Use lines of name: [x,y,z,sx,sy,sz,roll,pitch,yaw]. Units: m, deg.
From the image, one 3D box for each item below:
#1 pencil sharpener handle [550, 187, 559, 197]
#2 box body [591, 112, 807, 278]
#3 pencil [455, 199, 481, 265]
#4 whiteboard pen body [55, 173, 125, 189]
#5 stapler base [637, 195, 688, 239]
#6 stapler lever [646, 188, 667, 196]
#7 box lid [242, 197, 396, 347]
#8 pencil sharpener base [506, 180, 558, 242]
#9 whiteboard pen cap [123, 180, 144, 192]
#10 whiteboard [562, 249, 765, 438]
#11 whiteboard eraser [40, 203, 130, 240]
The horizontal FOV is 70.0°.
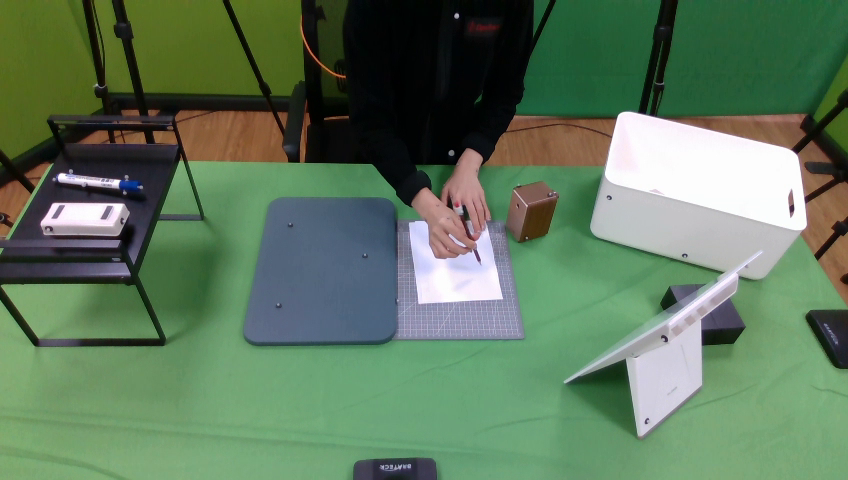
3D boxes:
pencil sharpener handle: [0.261,-0.084,1.221,0.031,0.068,0.036,-16,66,-19]
box body: [0.540,-0.092,1.230,0.363,0.161,0.253,16,47,11]
pencil: [0.080,-0.009,1.063,0.012,0.195,0.012,-9,53,13]
whiteboard pen body: [-0.539,-0.095,0.998,0.141,0.017,0.017,7,46,6]
stapler base: [0.507,-0.055,1.280,0.041,0.024,0.129,-14,47,-19]
stapler lever: [0.507,-0.075,1.262,0.027,0.040,0.117,-14,46,-19]
box lid: [-0.186,0.046,1.147,0.263,0.015,0.369,0,46,-3]
pencil sharpener base: [0.216,-0.058,1.211,0.077,0.107,0.061,-16,49,-19]
whiteboard pen cap: [-0.479,-0.089,0.993,0.033,0.018,0.018,7,46,14]
whiteboard: [0.386,0.175,0.905,0.217,0.306,0.143,-26,72,-26]
whiteboard eraser: [-0.513,-0.028,0.922,0.113,0.042,0.055,1,48,-3]
